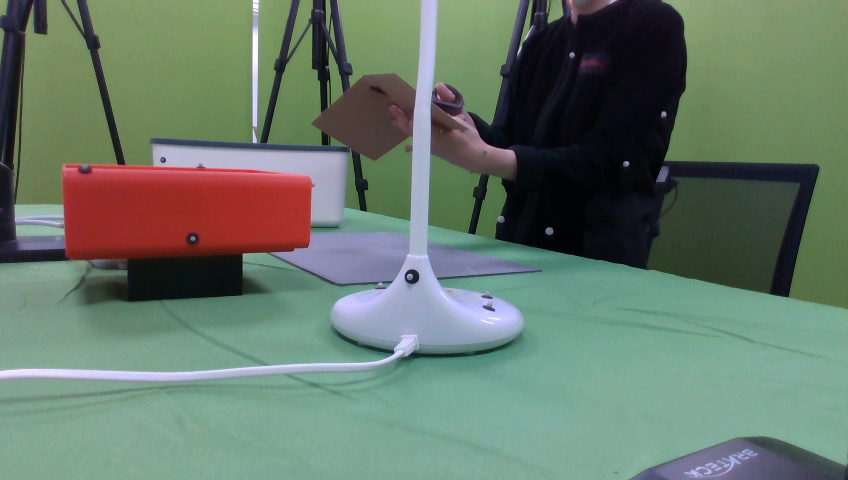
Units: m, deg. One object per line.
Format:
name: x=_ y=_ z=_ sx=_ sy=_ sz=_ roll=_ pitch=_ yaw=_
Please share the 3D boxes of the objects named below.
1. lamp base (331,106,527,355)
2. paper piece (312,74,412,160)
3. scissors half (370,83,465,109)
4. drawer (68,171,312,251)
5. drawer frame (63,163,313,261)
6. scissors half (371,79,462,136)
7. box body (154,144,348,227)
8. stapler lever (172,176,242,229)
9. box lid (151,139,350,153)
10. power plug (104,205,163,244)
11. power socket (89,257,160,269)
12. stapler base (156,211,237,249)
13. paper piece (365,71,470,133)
lamp base: x=0.006 y=-0.012 z=0.478 sx=0.161 sy=0.180 sz=0.179 roll=2 pitch=10 yaw=2
paper piece: x=-0.087 y=-0.190 z=0.966 sx=0.136 sy=0.004 sz=0.135 roll=28 pitch=-42 yaw=-34
scissors half: x=-0.008 y=-0.230 z=0.946 sx=0.176 sy=0.040 sz=0.013 roll=-5 pitch=-2 yaw=-34
drawer: x=-0.247 y=-0.036 z=0.629 sx=0.213 sy=0.073 sz=0.193 roll=-2 pitch=9 yaw=-30
drawer frame: x=-0.248 y=-0.036 z=0.626 sx=0.215 sy=0.082 sz=0.200 roll=-3 pitch=9 yaw=-31
scissors half: x=-0.011 y=-0.208 z=0.943 sx=0.176 sy=0.040 sz=0.012 roll=26 pitch=-13 yaw=-31
box body: x=-0.357 y=-0.119 z=1.264 sx=0.365 sy=0.160 sz=0.253 roll=0 pitch=7 yaw=-18
stapler lever: x=-0.218 y=-0.041 z=0.618 sx=0.027 sy=0.040 sz=0.118 roll=18 pitch=11 yaw=-2
box lid: x=-0.352 y=-0.191 z=1.256 sx=0.373 sy=0.015 sz=0.262 roll=0 pitch=8 yaw=-18
power plug: x=-0.390 y=-0.021 z=0.815 sx=0.073 sy=0.052 sz=0.035 roll=-1 pitch=8 yaw=-28
power socket: x=-0.409 y=0.004 z=0.793 sx=0.072 sy=0.032 sz=0.225 roll=-2 pitch=8 yaw=-38
stapler base: x=-0.227 y=-0.017 z=0.624 sx=0.041 sy=0.024 sz=0.130 roll=18 pitch=10 yaw=-2
paper piece: x=-0.013 y=-0.196 z=0.860 sx=0.139 sy=0.008 sz=0.135 roll=35 pitch=-1 yaw=-27
